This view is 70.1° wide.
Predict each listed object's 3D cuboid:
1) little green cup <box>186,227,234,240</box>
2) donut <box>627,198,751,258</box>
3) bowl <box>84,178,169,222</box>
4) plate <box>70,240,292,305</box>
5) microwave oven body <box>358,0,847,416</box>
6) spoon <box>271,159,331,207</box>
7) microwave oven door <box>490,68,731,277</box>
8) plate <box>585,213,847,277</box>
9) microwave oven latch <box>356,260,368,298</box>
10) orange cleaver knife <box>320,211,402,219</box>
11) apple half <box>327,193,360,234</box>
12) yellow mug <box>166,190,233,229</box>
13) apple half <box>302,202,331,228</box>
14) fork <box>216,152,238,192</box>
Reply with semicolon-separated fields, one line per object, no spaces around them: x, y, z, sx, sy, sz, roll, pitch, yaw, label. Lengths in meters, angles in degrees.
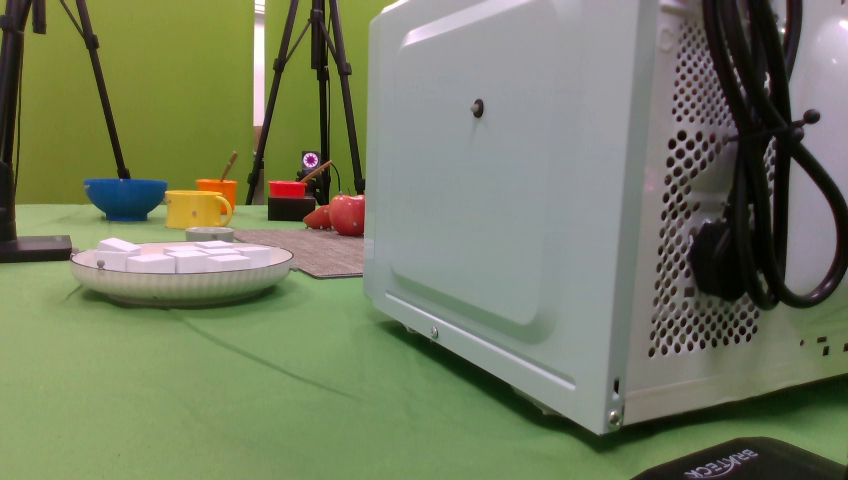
-0.284;0.005;0.805;0.061;0.038;0.061;2;8;0;little green cup
0.226;-0.010;0.520;0.099;0.048;0.099;4;6;0;donut
-0.584;-0.078;1.194;0.151;0.077;0.151;3;8;0;bowl
-0.242;0.032;0.618;0.208;0.039;0.207;2;8;0;plate
0.211;-0.047;0.475;0.444;0.260;0.324;-1;7;-28;microwave oven body
-0.308;-0.142;1.514;0.193;0.021;0.041;-41;3;8;spoon
0.230;-0.097;0.834;0.039;0.243;0.354;-3;9;-37;microwave oven door
0.242;0.001;0.512;0.209;0.038;0.209;2;6;0;plate
-0.020;0.033;0.530;0.079;0.029;0.030;0;7;-26;microwave oven latch
-0.142;-0.057;1.394;0.077;0.012;0.212;2;6;44;orange cleaver knife
-0.132;-0.047;1.087;0.081;0.074;0.053;5;10;-13;apple half
-0.415;-0.057;1.132;0.130;0.064;0.100;6;8;16;yellow mug
-0.192;-0.044;1.169;0.081;0.032;0.081;-24;-11;-5;apple half
-0.455;-0.132;1.367;0.028;0.018;0.207;-2;-35;-37;fork
